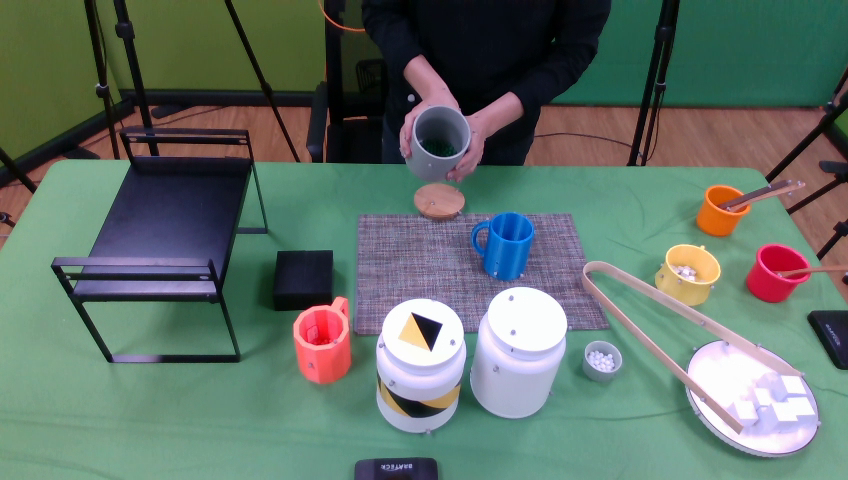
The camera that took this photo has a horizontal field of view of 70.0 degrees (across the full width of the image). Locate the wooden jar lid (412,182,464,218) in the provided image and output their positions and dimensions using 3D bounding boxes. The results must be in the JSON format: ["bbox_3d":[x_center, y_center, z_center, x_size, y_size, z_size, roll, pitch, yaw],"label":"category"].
[{"bbox_3d":[0.029,-0.083,1.276,0.108,0.021,0.107,3,43,-3],"label":"wooden jar lid"}]

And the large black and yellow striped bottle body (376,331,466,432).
[{"bbox_3d":[-0.007,0.189,0.905,0.131,0.185,0.130,2,46,-2],"label":"large black and yellow striped bottle body"}]

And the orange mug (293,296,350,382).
[{"bbox_3d":[-0.158,0.154,0.985,0.083,0.101,0.125,17,52,11],"label":"orange mug"}]

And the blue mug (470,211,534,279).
[{"bbox_3d":[0.141,0.005,1.140,0.116,0.106,0.082,18,48,13],"label":"blue mug"}]

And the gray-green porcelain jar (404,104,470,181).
[{"bbox_3d":[0.020,-0.173,1.113,0.106,0.126,0.105,3,73,-10],"label":"gray-green porcelain jar"}]

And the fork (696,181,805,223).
[{"bbox_3d":[0.659,-0.077,1.232,0.207,0.019,0.028,-26,35,34],"label":"fork"}]

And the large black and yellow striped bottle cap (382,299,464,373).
[{"bbox_3d":[-0.002,0.132,0.843,0.115,0.019,0.114,2,46,-1],"label":"large black and yellow striped bottle cap"}]

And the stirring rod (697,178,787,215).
[{"bbox_3d":[0.650,-0.088,1.245,0.006,0.176,0.014,29,49,-39],"label":"stirring rod"}]

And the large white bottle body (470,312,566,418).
[{"bbox_3d":[0.143,0.173,0.930,0.131,0.185,0.130,2,46,-2],"label":"large white bottle body"}]

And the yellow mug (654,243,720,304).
[{"bbox_3d":[0.504,0.054,1.154,0.099,0.064,0.130,28,50,22],"label":"yellow mug"}]

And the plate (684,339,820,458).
[{"bbox_3d":[0.523,0.256,0.982,0.208,0.039,0.206,2,46,-2],"label":"plate"}]

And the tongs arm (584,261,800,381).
[{"bbox_3d":[0.452,0.137,1.064,0.051,0.027,0.382,-34,50,-27],"label":"tongs arm"}]

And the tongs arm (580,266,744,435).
[{"bbox_3d":[0.384,0.173,1.028,0.028,0.028,0.385,-25,46,-15],"label":"tongs arm"}]

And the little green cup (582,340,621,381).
[{"bbox_3d":[0.295,0.204,1.014,0.061,0.039,0.061,2,45,-2],"label":"little green cup"}]

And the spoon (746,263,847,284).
[{"bbox_3d":[0.696,0.057,1.113,0.193,0.022,0.041,-16,27,48],"label":"spoon"}]

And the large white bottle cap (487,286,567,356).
[{"bbox_3d":[0.147,0.114,0.869,0.115,0.018,0.114,3,46,-3],"label":"large white bottle cap"}]
